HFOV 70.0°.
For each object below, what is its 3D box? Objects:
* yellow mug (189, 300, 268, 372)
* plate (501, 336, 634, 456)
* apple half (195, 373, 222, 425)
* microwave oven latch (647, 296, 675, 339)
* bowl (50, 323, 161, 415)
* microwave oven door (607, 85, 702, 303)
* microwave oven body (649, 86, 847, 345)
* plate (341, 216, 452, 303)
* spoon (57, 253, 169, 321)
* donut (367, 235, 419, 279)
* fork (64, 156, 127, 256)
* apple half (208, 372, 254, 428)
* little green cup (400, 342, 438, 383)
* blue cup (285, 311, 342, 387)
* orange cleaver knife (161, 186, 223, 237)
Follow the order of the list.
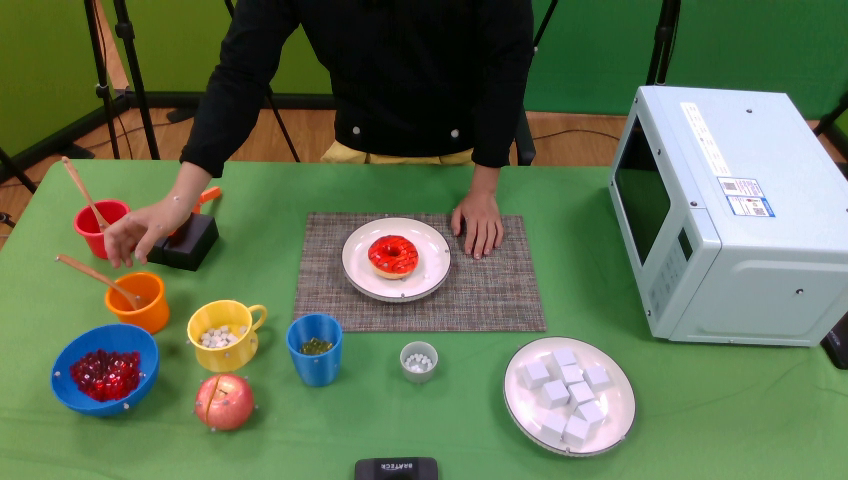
[{"bbox_3d":[-0.315,0.148,1.001,0.131,0.064,0.099,-32,55,-31],"label":"yellow mug"},{"bbox_3d":[0.225,0.248,0.963,0.208,0.039,0.206,2,46,-2],"label":"plate"},{"bbox_3d":[-0.323,0.240,0.907,0.033,0.081,0.081,5,46,1],"label":"apple half"},{"bbox_3d":[0.413,0.134,1.061,0.030,0.029,0.078,5,45,2],"label":"microwave oven latch"},{"bbox_3d":[-0.472,0.209,0.924,0.151,0.077,0.150,3,45,-2],"label":"bowl"},{"bbox_3d":[0.423,-0.094,1.140,0.039,0.245,0.353,2,46,-1],"label":"microwave oven door"},{"bbox_3d":[0.568,-0.053,1.118,0.326,0.261,0.439,2,45,-1],"label":"microwave oven body"},{"bbox_3d":[-0.052,0.039,1.140,0.209,0.038,0.208,2,46,-2],"label":"plate"},{"bbox_3d":[-0.509,0.076,1.000,0.021,0.195,0.041,-27,34,33],"label":"spoon"},{"bbox_3d":[-0.057,0.032,1.132,0.099,0.048,0.098,3,45,-3],"label":"donut"},{"bbox_3d":[-0.614,-0.064,1.129,0.028,0.018,0.207,-30,96,-15],"label":"fork"},{"bbox_3d":[-0.283,0.244,0.908,0.053,0.075,0.080,7,42,-2],"label":"apple half"},{"bbox_3d":[-0.010,0.202,0.991,0.061,0.039,0.061,2,47,-2],"label":"little green cup"},{"bbox_3d":[-0.170,0.180,0.958,0.093,0.101,0.092,2,44,-1],"label":"blue cup"},{"bbox_3d":[-0.448,-0.059,1.181,0.012,0.077,0.211,13,17,6],"label":"orange cleaver knife"}]
